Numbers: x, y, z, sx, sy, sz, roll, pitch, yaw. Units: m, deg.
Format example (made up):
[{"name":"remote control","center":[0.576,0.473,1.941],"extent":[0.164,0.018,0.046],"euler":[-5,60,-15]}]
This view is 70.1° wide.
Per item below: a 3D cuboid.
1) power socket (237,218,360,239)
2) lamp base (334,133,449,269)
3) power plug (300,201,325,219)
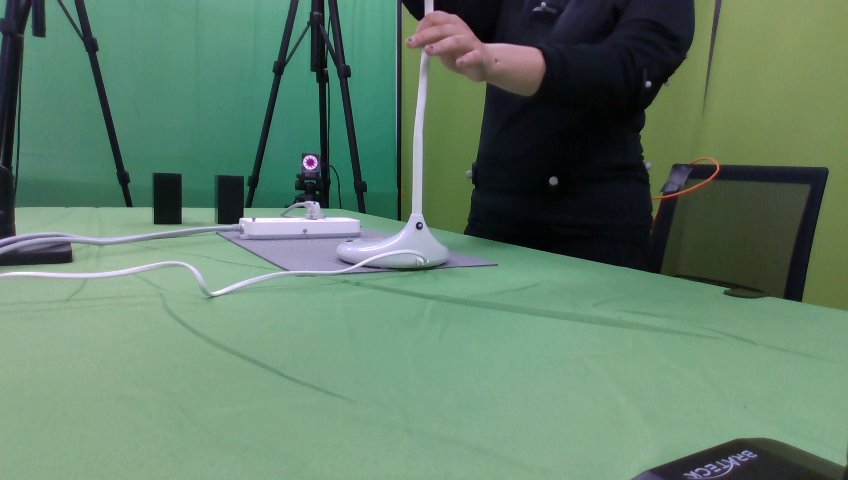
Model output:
[{"name":"power socket","center":[-0.220,-0.023,1.080],"extent":[0.228,0.032,0.072],"euler":[-2,8,-33]},{"name":"lamp base","center":[-0.034,-0.057,0.831],"extent":[0.161,0.180,0.178],"euler":[-3,12,-36]},{"name":"power plug","center":[-0.207,-0.046,1.120],"extent":[0.035,0.052,0.072],"euler":[2,4,-22]}]
